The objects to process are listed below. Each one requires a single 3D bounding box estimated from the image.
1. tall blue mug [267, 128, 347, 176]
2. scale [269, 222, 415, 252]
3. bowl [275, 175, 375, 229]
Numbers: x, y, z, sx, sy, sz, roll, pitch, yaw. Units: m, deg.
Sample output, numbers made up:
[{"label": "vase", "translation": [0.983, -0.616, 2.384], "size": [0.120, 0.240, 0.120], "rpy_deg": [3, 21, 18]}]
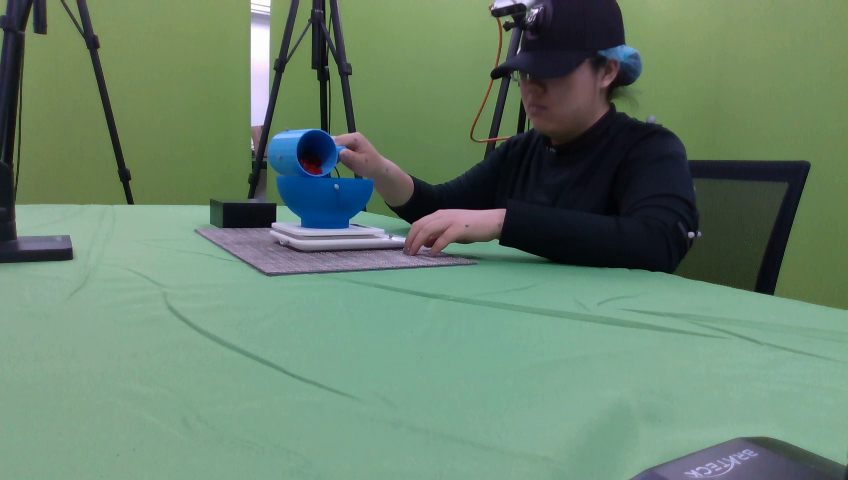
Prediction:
[{"label": "tall blue mug", "translation": [-0.192, -0.153, 1.010], "size": [0.107, 0.078, 0.107], "rpy_deg": [-42, 29, -27]}, {"label": "scale", "translation": [-0.130, -0.007, 0.958], "size": [0.202, 0.031, 0.148], "rpy_deg": [-1, 9, -32]}, {"label": "bowl", "translation": [-0.152, -0.059, 0.932], "size": [0.151, 0.077, 0.151], "rpy_deg": [2, 7, 0]}]
